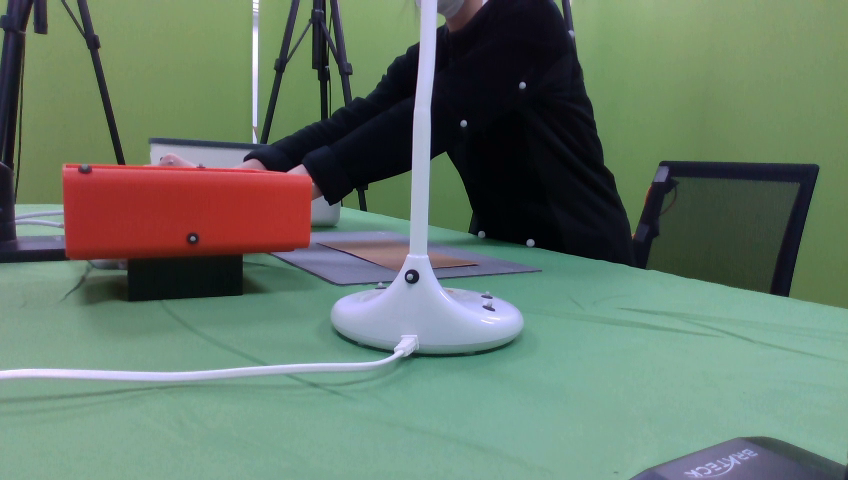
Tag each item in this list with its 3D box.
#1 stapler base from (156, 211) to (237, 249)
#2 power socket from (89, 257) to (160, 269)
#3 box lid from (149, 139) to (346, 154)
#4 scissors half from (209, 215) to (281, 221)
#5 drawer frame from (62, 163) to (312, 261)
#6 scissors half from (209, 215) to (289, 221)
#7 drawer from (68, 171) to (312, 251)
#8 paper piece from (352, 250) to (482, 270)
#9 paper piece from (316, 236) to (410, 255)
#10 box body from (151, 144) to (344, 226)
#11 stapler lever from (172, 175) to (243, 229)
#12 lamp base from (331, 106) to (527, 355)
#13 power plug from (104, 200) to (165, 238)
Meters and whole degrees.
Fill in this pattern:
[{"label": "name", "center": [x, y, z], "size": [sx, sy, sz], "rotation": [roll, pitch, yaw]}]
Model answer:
[{"label": "stapler base", "center": [-0.227, -0.017, 0.624], "size": [0.041, 0.024, 0.130], "rotation": [19, 9, -2]}, {"label": "power socket", "center": [-0.409, 0.005, 0.792], "size": [0.072, 0.032, 0.225], "rotation": [-2, 8, -38]}, {"label": "box lid", "center": [-0.365, -0.191, 1.255], "size": [0.373, 0.015, 0.262], "rotation": [-1, 8, -24]}, {"label": "scissors half", "center": [-0.364, -0.044, 1.215], "size": [0.174, 0.013, 0.040], "rotation": [0, 2, 26]}, {"label": "drawer frame", "center": [-0.248, -0.036, 0.626], "size": [0.215, 0.082, 0.200], "rotation": [-3, 9, -31]}, {"label": "scissors half", "center": [-0.357, -0.044, 1.235], "size": [0.175, 0.013, 0.040], "rotation": [1, -3, 9]}, {"label": "drawer", "center": [-0.247, -0.036, 0.628], "size": [0.213, 0.073, 0.193], "rotation": [-3, 9, -30]}, {"label": "paper piece", "center": [-0.013, 0.026, 0.841], "size": [0.139, 0.008, 0.135], "rotation": [-1, 11, -32]}, {"label": "paper piece", "center": [-0.084, 0.008, 0.948], "size": [0.136, 0.004, 0.134], "rotation": [-1, 12, -31]}, {"label": "box body", "center": [-0.370, -0.119, 1.264], "size": [0.366, 0.160, 0.253], "rotation": [-1, 8, -24]}, {"label": "stapler lever", "center": [-0.217, -0.041, 0.618], "size": [0.027, 0.040, 0.118], "rotation": [19, 11, -2]}, {"label": "lamp base", "center": [0.006, -0.012, 0.478], "size": [0.161, 0.180, 0.179], "rotation": [2, 10, 2]}, {"label": "power plug", "center": [-0.387, -0.027, 0.811], "size": [0.073, 0.052, 0.035], "rotation": [3, 16, -26]}]
